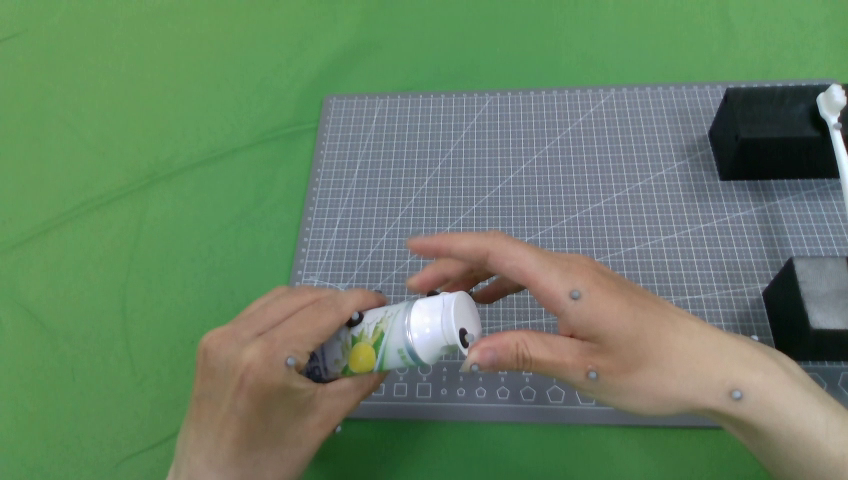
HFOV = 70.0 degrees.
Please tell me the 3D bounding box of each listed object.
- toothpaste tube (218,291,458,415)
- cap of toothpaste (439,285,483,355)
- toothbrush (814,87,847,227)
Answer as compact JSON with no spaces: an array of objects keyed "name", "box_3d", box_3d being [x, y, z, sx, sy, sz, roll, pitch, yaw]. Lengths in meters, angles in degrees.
[{"name":"toothpaste tube","box_3d":[-0.049,0.061,0.341,0.165,0.034,0.055,-18,89,25]},{"name":"cap of toothpaste","box_3d":[0.019,0.041,0.307,0.011,0.038,0.037,-17,54,26]},{"name":"toothbrush","box_3d":[0.278,-0.029,0.391,0.014,0.017,0.180,12,60,-5]}]
